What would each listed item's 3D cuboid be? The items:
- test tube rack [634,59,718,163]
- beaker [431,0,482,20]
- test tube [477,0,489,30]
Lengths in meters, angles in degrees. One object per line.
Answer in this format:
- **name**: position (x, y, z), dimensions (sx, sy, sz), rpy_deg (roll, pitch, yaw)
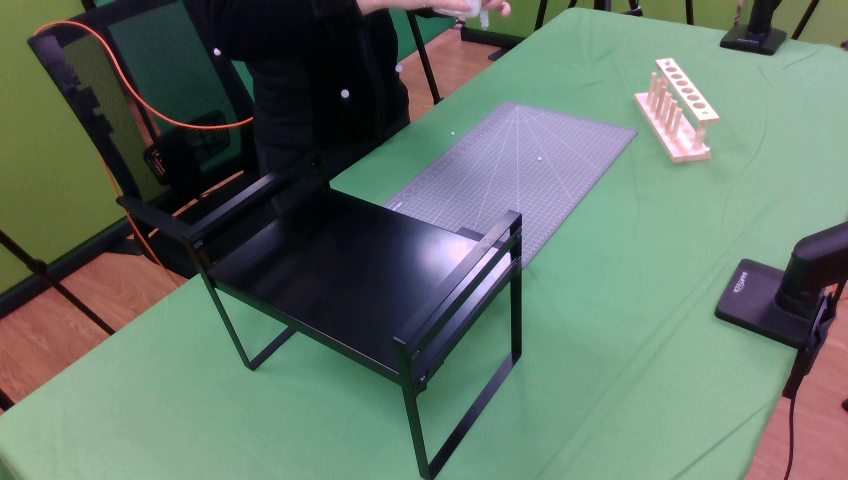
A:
- **test tube rack**: position (0.470, -0.250, 1.148), dimensions (0.067, 0.085, 0.241), rpy_deg (-6, 40, 3)
- **beaker**: position (0.051, -0.364, 0.843), dimensions (0.073, 0.100, 0.084), rpy_deg (14, 17, 18)
- **test tube**: position (0.088, -0.384, 0.936), dimensions (0.017, 0.151, 0.017), rpy_deg (-4, 64, 9)
